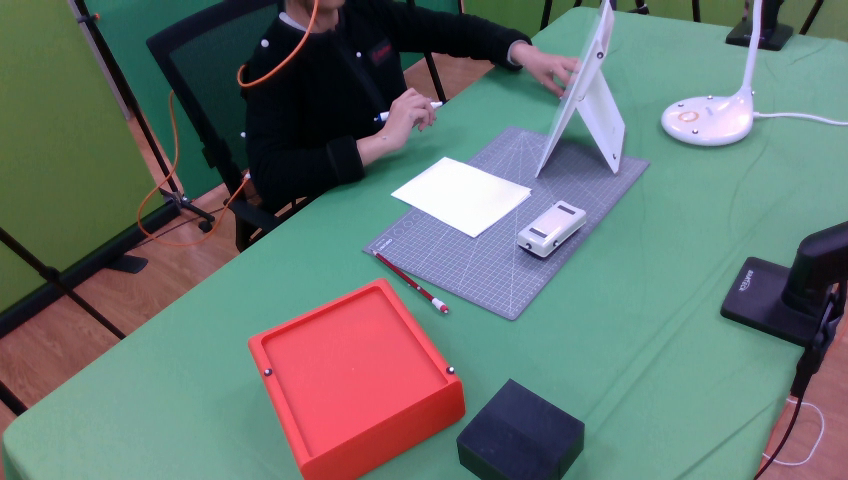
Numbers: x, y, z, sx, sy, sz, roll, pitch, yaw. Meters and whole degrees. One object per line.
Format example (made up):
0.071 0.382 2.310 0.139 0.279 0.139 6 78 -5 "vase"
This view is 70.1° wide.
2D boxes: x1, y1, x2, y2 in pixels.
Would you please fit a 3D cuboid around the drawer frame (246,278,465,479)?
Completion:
-0.088 0.168 0.752 0.202 0.083 0.211 -24 43 -18 "drawer frame"

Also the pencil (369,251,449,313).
-0.028 0.060 0.924 0.012 0.012 0.192 -33 46 -25 "pencil"

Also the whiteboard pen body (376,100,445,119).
-0.026 -0.261 1.200 0.141 0.017 0.017 -14 40 -4 "whiteboard pen body"

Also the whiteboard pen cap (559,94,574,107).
0.300 -0.293 1.271 0.018 0.018 0.033 27 49 35 "whiteboard pen cap"

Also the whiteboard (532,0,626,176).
0.321 -0.258 1.049 0.144 0.306 0.217 21 45 5 "whiteboard"

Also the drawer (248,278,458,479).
-0.092 0.167 0.756 0.195 0.073 0.210 -24 43 -18 "drawer"

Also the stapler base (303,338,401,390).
-0.096 0.160 0.813 0.131 0.024 0.041 -17 43 -17 "stapler base"

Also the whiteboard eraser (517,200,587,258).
0.201 -0.016 0.943 0.113 0.042 0.055 -37 46 -29 "whiteboard eraser"

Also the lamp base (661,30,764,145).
0.535 -0.287 1.095 0.179 0.181 0.159 -10 40 -4 "lamp base"

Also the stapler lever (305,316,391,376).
-0.100 0.137 0.790 0.118 0.040 0.026 -23 44 -12 "stapler lever"
